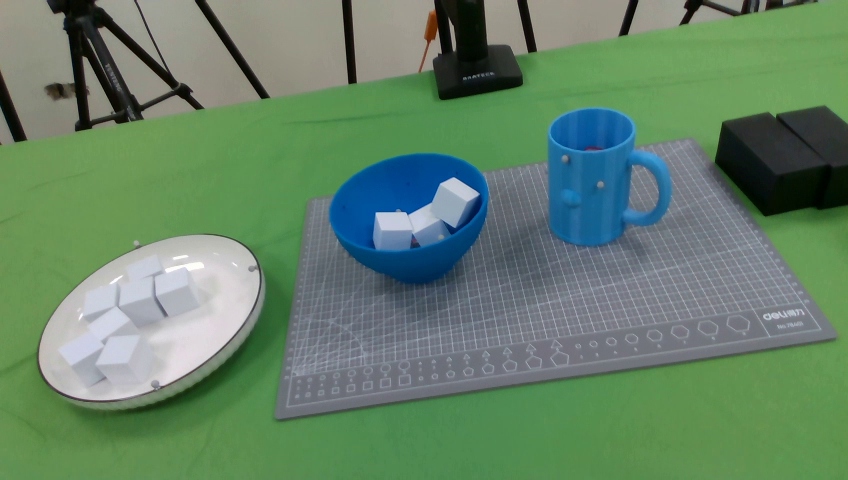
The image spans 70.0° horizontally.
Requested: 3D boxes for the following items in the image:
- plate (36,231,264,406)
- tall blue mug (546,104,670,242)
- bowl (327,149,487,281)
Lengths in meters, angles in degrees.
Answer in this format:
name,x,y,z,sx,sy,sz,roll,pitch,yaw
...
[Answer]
name,x,y,z,sx,sy,sz,roll,pitch,yaw
plate,-0.251,0.072,0.575,0.209,0.038,0.207,-6,41,5
tall blue mug,0.171,-0.062,0.572,0.107,0.109,0.077,-1,42,12
bowl,-0.010,-0.014,0.582,0.151,0.077,0.150,-6,41,6
